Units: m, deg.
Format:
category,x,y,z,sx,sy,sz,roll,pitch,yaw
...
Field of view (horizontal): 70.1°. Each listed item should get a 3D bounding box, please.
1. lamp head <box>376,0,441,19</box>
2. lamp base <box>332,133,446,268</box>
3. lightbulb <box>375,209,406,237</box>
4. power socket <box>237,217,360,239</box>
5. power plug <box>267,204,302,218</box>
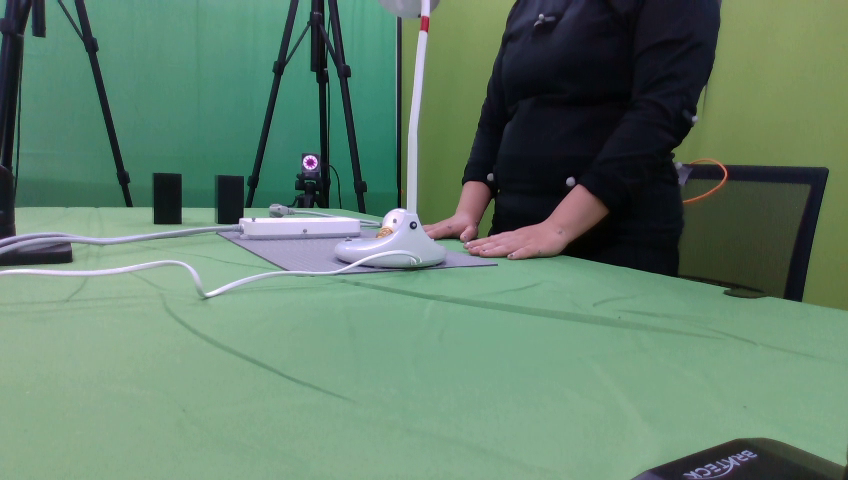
category,x,y,z,sx,sy,sz,roll,pitch,yaw
lamp head,-0.012,-0.373,0.822,0.113,0.112,0.122,1,0,-14
lamp base,-0.038,-0.058,0.833,0.161,0.180,0.178,-2,11,-32
lightbulb,-0.053,-0.016,1.022,0.059,0.059,0.108,6,23,21
power socket,-0.221,-0.023,1.080,0.228,0.032,0.072,-2,8,-32
power plug,-0.327,-0.060,1.404,0.073,0.035,0.052,22,-15,-25
